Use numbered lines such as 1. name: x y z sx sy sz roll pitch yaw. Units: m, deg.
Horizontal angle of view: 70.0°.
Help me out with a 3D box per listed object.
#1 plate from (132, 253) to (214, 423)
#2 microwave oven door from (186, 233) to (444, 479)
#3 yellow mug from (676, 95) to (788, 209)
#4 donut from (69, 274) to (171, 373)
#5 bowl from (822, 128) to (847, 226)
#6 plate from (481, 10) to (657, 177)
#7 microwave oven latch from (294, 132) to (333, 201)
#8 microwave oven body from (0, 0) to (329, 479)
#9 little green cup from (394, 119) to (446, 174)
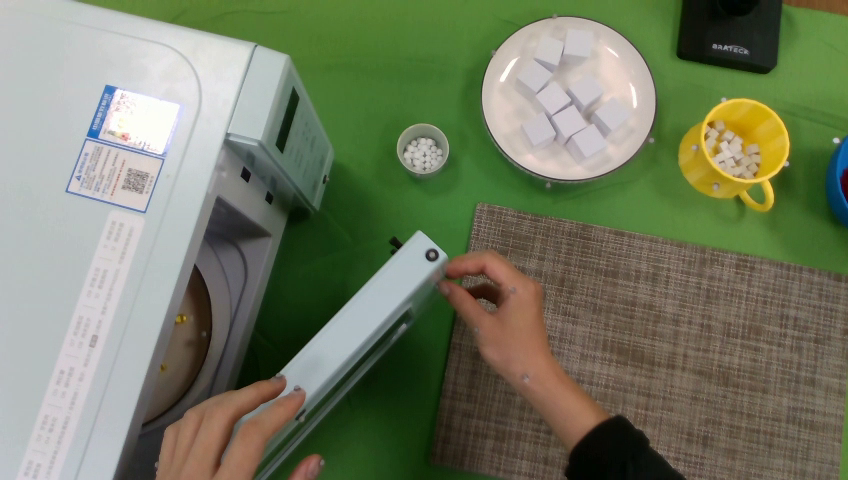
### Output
1. plate: -0.318 0.086 0.624 0.209 0.038 0.208 0 81 -1
2. microwave oven door: -0.114 0.145 0.556 0.039 0.244 0.355 43 83 8
3. yellow mug: 0.363 -0.096 0.703 0.100 0.064 0.130 -26 82 -4
4. donut: -0.304 0.083 0.610 0.099 0.048 0.099 0 83 0
5. bowl: 0.519 -0.065 0.692 0.151 0.077 0.151 0 81 0
6. plate: 0.171 -0.173 0.730 0.208 0.039 0.207 0 80 0
7. microwave oven latch: -0.129 -0.087 0.697 0.030 0.029 0.079 18 82 3
8. microwave oven body: -0.318 0.028 0.580 0.326 0.261 0.440 14 81 2
9. little green cup: -0.004 -0.108 0.718 0.061 0.039 0.061 0 83 2
